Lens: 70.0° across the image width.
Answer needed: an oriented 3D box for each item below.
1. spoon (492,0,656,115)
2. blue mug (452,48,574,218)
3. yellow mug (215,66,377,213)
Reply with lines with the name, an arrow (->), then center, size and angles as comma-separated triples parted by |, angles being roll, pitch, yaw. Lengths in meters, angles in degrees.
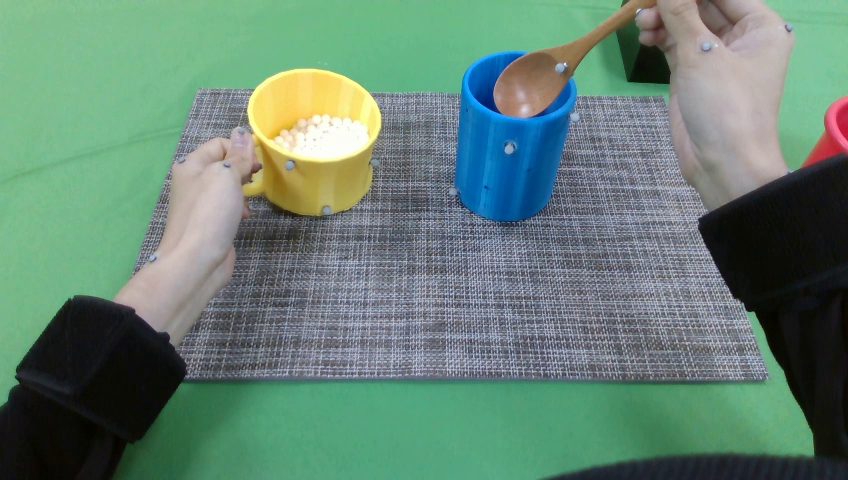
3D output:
spoon -> 0.114, -0.132, 0.370 | 0.022, 0.193, 0.041 | -18, 83, -41
blue mug -> 0.077, -0.090, 0.480 | 0.081, 0.107, 0.116 | 38, 60, 25
yellow mug -> -0.102, -0.074, 0.474 | 0.131, 0.064, 0.099 | -30, 67, -28
